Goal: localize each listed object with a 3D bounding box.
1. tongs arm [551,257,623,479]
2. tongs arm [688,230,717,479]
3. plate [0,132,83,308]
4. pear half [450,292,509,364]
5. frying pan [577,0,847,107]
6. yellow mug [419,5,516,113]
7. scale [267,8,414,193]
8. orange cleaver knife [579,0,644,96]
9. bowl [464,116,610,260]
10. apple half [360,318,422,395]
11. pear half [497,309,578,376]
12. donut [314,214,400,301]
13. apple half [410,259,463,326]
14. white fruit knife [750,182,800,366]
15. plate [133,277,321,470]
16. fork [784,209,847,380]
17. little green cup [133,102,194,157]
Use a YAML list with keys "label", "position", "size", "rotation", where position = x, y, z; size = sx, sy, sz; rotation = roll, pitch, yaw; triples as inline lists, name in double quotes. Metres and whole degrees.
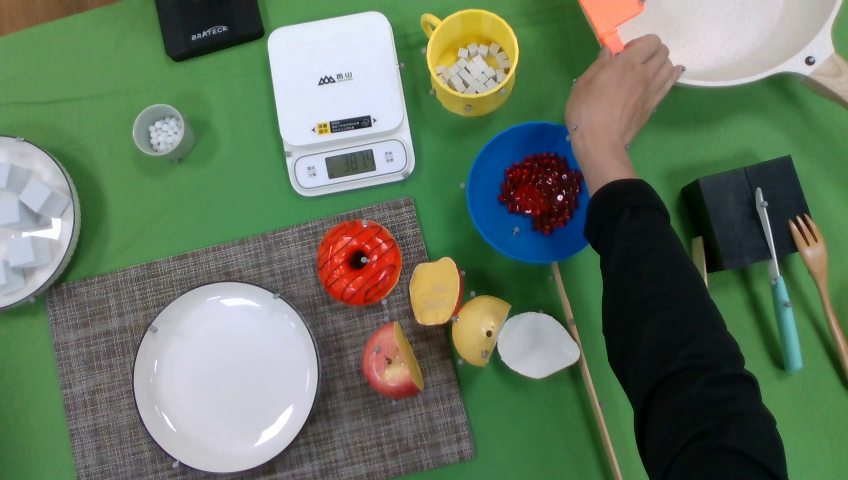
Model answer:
- label: "tongs arm"
  position: [0.210, 0.195, 0.651]
  size: [0.051, 0.026, 0.383]
  rotation: [-14, 84, -3]
- label: "tongs arm"
  position: [0.294, 0.182, 0.651]
  size: [0.028, 0.028, 0.386]
  rotation: [1, 84, -4]
- label: "plate"
  position: [-0.499, -0.022, 0.714]
  size: [0.207, 0.039, 0.207]
  rotation: [0, 84, 4]
- label: "pear half"
  position: [0.054, 0.088, 0.633]
  size: [0.056, 0.110, 0.076]
  rotation: [18, 80, 6]
- label: "frying pan"
  position: [0.370, -0.230, 0.649]
  size: [0.307, 0.103, 0.485]
  rotation: [-41, 75, 0]
- label: "yellow mug"
  position: [0.041, -0.213, 0.686]
  size: [0.130, 0.064, 0.100]
  rotation: [43, 89, 8]
- label: "scale"
  position: [-0.098, -0.163, 0.707]
  size: [0.148, 0.031, 0.200]
  rotation: [-10, 84, 3]
- label: "orange cleaver knife"
  position: [0.193, -0.254, 0.642]
  size: [0.077, 0.012, 0.210]
  rotation: [-26, 84, -3]
- label: "bowl"
  position: [0.118, -0.050, 0.659]
  size: [0.151, 0.077, 0.151]
  rotation: [0, 85, 3]
- label: "apple half"
  position: [-0.040, 0.129, 0.649]
  size: [0.053, 0.075, 0.080]
  rotation: [-24, 87, 5]
- label: "pear half"
  position: [0.126, 0.113, 0.665]
  size: [0.087, 0.031, 0.070]
  rotation: [12, 83, 20]
- label: "donut"
  position: [-0.075, 0.020, 0.677]
  size: [0.099, 0.048, 0.099]
  rotation: [0, 86, 6]
- label: "apple half"
  position: [0.021, 0.057, 0.673]
  size: [0.033, 0.081, 0.081]
  rotation: [-10, 80, -42]
- label: "white fruit knife"
  position: [0.366, 0.039, 0.635]
  size: [0.016, 0.027, 0.208]
  rotation: [-16, 98, 3]
- label: "plate"
  position: [-0.215, 0.146, 0.676]
  size: [0.209, 0.038, 0.208]
  rotation: [0, 84, 4]
- label: "fork"
  position: [0.423, 0.065, 0.636]
  size: [0.028, 0.018, 0.208]
  rotation: [-24, 98, -5]
- label: "little green cup"
  position: [-0.304, -0.127, 0.713]
  size: [0.061, 0.039, 0.061]
  rotation: [0, 84, 4]
